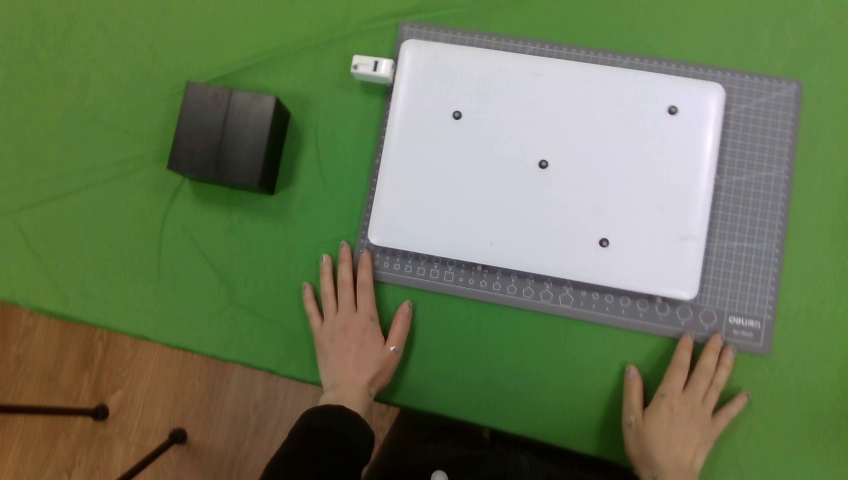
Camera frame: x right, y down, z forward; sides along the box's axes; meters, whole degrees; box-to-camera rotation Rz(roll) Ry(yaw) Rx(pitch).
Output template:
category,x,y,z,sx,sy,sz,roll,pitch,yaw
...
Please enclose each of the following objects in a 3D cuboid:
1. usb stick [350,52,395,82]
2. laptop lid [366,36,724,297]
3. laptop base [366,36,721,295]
category,x,y,z,sx,sy,sz,roll,pitch,yaw
usb stick,-0.050,-0.191,0.671,0.059,0.027,0.021,10,85,5
laptop lid,0.127,-0.083,0.648,0.356,0.013,0.241,11,87,5
laptop base,0.128,-0.083,0.660,0.354,0.023,0.235,10,88,4
